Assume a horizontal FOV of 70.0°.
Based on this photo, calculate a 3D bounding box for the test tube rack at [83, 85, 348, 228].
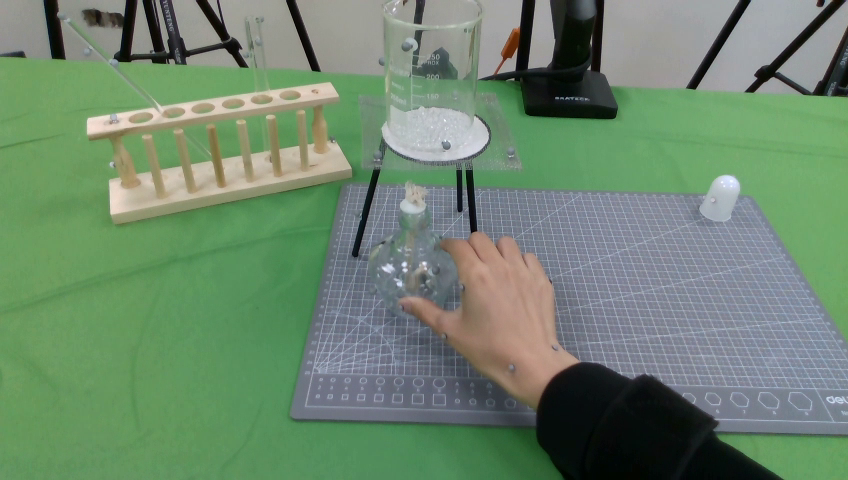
[{"bbox_3d":[-0.207,-0.091,0.629,0.243,0.086,0.066,-14,43,-19],"label":"test tube rack"}]

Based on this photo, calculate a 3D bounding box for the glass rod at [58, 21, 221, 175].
[{"bbox_3d":[-0.265,-0.127,0.583,0.008,0.202,0.008,-17,47,20],"label":"glass rod"}]

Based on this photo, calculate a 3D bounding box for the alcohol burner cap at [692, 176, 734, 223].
[{"bbox_3d":[0.302,-0.045,0.630,0.034,0.048,0.033,2,40,-1],"label":"alcohol burner cap"}]

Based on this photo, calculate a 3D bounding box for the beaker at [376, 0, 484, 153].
[{"bbox_3d":[0.000,-0.125,0.460,0.083,0.101,0.074,22,44,24],"label":"beaker"}]

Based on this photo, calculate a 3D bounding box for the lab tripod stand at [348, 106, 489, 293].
[{"bbox_3d":[0.003,-0.038,0.536,0.148,0.132,0.147,1,42,0],"label":"lab tripod stand"}]

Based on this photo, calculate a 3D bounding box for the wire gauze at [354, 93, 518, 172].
[{"bbox_3d":[0.005,-0.088,0.493,0.125,0.011,0.120,-4,38,-3],"label":"wire gauze"}]

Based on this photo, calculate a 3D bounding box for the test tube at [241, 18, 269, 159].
[{"bbox_3d":[-0.171,-0.151,0.626,0.017,0.151,0.017,2,37,-1],"label":"test tube"}]

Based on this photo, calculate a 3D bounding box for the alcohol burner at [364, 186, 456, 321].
[{"bbox_3d":[-0.012,0.008,0.495,0.078,0.120,0.077,0,38,0],"label":"alcohol burner"}]
